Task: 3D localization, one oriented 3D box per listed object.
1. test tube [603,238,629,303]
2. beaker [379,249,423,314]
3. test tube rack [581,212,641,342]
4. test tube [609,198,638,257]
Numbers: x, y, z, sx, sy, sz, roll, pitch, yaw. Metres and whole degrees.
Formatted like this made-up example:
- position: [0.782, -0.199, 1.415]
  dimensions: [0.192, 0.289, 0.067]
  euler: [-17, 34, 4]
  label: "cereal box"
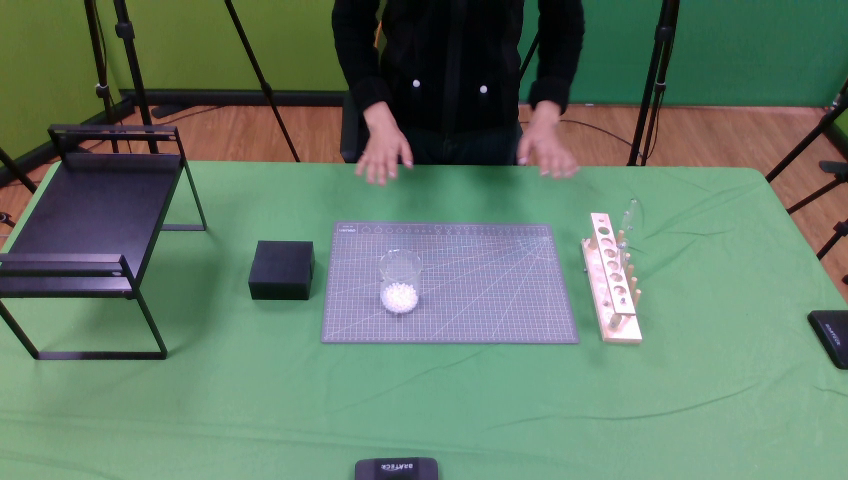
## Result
- position: [0.334, 0.056, 1.058]
  dimensions: [0.017, 0.151, 0.017]
  euler: [0, 41, 0]
  label: "test tube"
- position: [-0.044, 0.074, 1.066]
  dimensions: [0.074, 0.101, 0.083]
  euler: [-22, 51, -23]
  label: "beaker"
- position: [0.351, 0.063, 1.121]
  dimensions: [0.067, 0.085, 0.241]
  euler: [3, 46, -1]
  label: "test tube rack"
- position: [0.375, -0.021, 1.141]
  dimensions: [0.017, 0.151, 0.017]
  euler: [2, 45, -1]
  label: "test tube"
